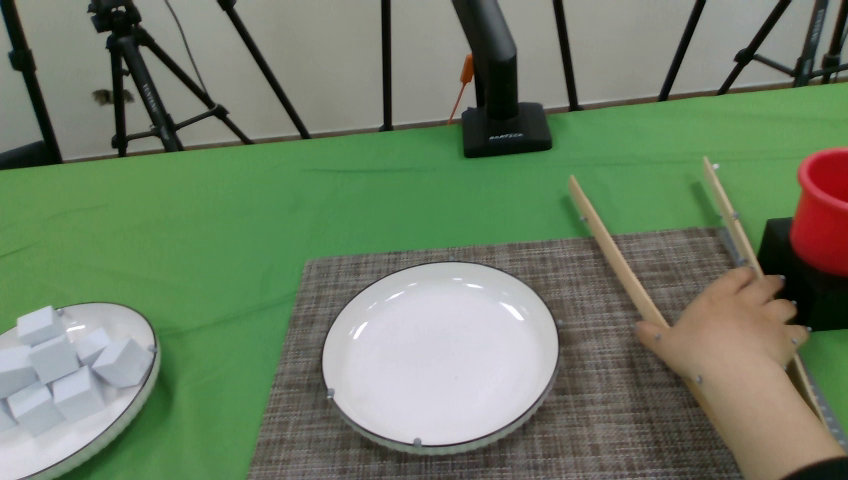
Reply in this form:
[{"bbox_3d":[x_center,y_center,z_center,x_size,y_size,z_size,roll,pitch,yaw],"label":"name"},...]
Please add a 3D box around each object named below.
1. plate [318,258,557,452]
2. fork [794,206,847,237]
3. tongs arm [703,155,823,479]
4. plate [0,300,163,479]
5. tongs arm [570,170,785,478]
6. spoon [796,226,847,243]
[{"bbox_3d":[0.012,0.099,0.537,0.207,0.039,0.205,-5,39,5],"label":"plate"},{"bbox_3d":[0.403,-0.058,0.485,0.207,0.018,0.028,-39,6,29],"label":"fork"},{"bbox_3d":[0.289,0.036,0.563,0.050,0.027,0.381,-1,40,7],"label":"tongs arm"},{"bbox_3d":[-0.344,0.141,0.560,0.209,0.038,0.207,-5,39,5],"label":"plate"},{"bbox_3d":[0.207,0.045,0.569,0.028,0.028,0.383,-7,39,-6],"label":"tongs arm"},{"bbox_3d":[0.374,-0.029,0.454,0.041,0.194,0.021,-27,84,-27],"label":"spoon"}]
